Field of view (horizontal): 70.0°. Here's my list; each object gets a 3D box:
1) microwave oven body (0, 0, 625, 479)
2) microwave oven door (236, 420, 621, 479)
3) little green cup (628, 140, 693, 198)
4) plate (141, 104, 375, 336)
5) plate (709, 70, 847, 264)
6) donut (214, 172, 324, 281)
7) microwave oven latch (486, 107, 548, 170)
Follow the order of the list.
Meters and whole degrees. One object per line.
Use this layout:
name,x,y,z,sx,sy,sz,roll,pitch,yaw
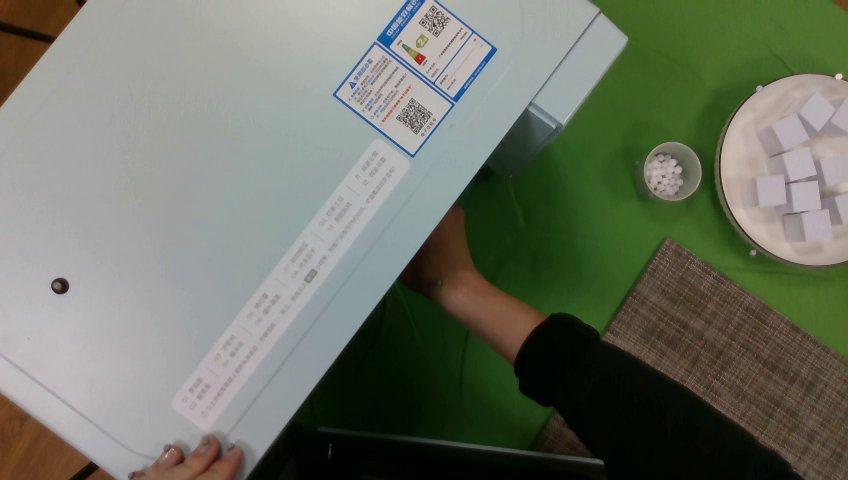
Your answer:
microwave oven body,-0.126,-0.062,0.512,0.326,0.260,0.441,37,87,-1
microwave oven door,0.031,0.217,0.505,0.356,0.244,0.039,7,87,-2
little green cup,0.249,-0.073,0.645,0.061,0.038,0.061,0,89,-1
plate,-0.149,-0.017,0.558,0.209,0.038,0.209,0,90,-2
plate,0.406,-0.077,0.655,0.208,0.039,0.207,0,88,-3
donut,-0.140,-0.013,0.550,0.099,0.048,0.099,0,88,-4
microwave oven latch,0.095,-0.110,0.621,0.030,0.029,0.079,41,87,-1
